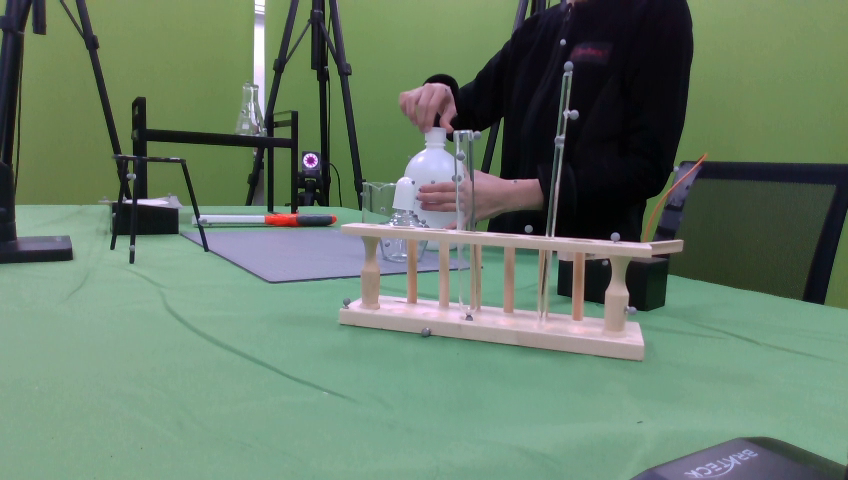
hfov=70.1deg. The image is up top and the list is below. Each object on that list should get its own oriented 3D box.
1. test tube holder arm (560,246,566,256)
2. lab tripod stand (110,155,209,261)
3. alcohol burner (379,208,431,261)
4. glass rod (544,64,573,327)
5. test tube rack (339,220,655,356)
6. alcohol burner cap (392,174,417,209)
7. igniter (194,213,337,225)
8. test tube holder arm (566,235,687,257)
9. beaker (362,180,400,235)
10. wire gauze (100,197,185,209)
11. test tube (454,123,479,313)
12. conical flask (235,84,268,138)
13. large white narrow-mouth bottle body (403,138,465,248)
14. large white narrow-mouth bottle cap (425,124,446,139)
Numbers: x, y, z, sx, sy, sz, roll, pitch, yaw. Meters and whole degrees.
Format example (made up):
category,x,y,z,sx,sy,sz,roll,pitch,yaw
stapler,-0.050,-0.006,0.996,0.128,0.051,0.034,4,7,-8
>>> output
category,x,y,z,sx,sy,sz,roll,pitch,yaw
test tube holder arm,0.173,0.007,0.612,0.088,0.015,0.010,-3,9,-30
lab tripod stand,-0.361,-0.046,0.806,0.148,0.131,0.148,2,5,0
alcohol burner,-0.027,-0.031,0.838,0.078,0.119,0.078,0,6,0
glass rod,0.101,-0.028,0.453,0.008,0.199,0.008,2,14,0
test tube rack,0.056,0.032,0.495,0.242,0.085,0.067,4,7,15
alcohol burner cap,-0.025,-0.067,0.834,0.034,0.048,0.034,8,7,-1
igniter,-0.306,-0.042,1.196,0.278,0.025,0.057,-2,-2,-31
test tube holder arm,0.215,0.006,0.630,0.179,0.015,0.013,-3,9,-31
beaker,-0.081,-0.062,1.142,0.074,0.100,0.084,2,8,1
wire gauze,-0.469,-0.062,1.008,0.126,0.011,0.121,-2,8,-25
test tube,0.034,-0.016,0.477,0.017,0.150,0.017,-2,9,1
conical flask,-0.402,-0.299,1.406,0.075,0.122,0.075,2,7,0
large white narrow-mouth bottle body,0.017,-0.088,1.001,0.102,0.194,0.102,1,8,0
large white narrow-mouth bottle cap,0.018,-0.177,0.989,0.038,0.024,0.037,1,8,0
